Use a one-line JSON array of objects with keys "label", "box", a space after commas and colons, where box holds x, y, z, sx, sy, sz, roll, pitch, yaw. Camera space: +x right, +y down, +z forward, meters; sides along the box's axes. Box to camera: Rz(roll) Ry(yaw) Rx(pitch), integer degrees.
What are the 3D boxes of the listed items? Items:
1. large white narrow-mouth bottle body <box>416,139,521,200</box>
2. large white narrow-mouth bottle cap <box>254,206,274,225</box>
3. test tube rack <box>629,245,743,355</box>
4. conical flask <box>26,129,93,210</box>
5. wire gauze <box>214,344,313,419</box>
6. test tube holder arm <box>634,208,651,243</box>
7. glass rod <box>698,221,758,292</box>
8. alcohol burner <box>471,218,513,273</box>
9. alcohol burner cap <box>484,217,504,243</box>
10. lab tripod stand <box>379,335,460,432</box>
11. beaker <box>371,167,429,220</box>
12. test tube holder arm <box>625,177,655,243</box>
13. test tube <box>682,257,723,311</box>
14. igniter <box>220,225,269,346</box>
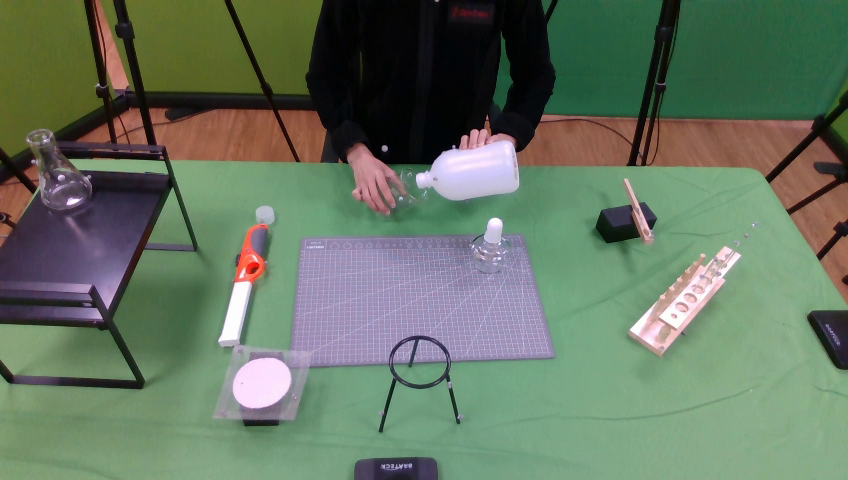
[{"label": "large white narrow-mouth bottle body", "box": [0.080, -0.129, 1.152, 0.194, 0.102, 0.101, -8, 44, 15]}, {"label": "large white narrow-mouth bottle cap", "box": [-0.323, -0.049, 1.222, 0.038, 0.024, 0.037, 2, 47, -2]}, {"label": "test tube rack", "box": [0.474, 0.095, 1.091, 0.242, 0.085, 0.066, -34, 56, -31]}, {"label": "conical flask", "box": [-0.575, -0.113, 0.946, 0.075, 0.122, 0.075, 2, 46, -2]}, {"label": "wire gauze", "box": [-0.241, 0.213, 0.916, 0.121, 0.011, 0.124, 5, 46, 1]}, {"label": "test tube holder arm", "box": [0.428, -0.030, 1.189, 0.010, 0.015, 0.087, 1, 47, -2]}, {"label": "glass rod", "box": [0.527, 0.035, 1.060, 0.008, 0.200, 0.008, 5, 49, -6]}, {"label": "alcohol burner", "box": [0.128, 0.005, 1.132, 0.078, 0.120, 0.077, 0, 47, 0]}, {"label": "alcohol burner cap", "box": [0.129, -0.021, 1.107, 0.034, 0.048, 0.033, 4, 41, -3]}, {"label": "lab tripod stand", "box": [-0.011, 0.214, 0.911, 0.148, 0.132, 0.147, 1, 45, 0]}, {"label": "beaker", "box": [-0.050, -0.089, 1.217, 0.084, 0.100, 0.073, 36, 42, -29]}, {"label": "test tube holder arm", "box": [0.433, -0.063, 1.220, 0.013, 0.015, 0.177, 1, 47, -3]}, {"label": "test tube", "box": [0.475, 0.080, 1.037, 0.017, 0.151, 0.017, 1, 50, -1]}, {"label": "igniter", "box": [-0.323, 0.072, 1.100, 0.057, 0.025, 0.275, -6, 46, 5]}]
